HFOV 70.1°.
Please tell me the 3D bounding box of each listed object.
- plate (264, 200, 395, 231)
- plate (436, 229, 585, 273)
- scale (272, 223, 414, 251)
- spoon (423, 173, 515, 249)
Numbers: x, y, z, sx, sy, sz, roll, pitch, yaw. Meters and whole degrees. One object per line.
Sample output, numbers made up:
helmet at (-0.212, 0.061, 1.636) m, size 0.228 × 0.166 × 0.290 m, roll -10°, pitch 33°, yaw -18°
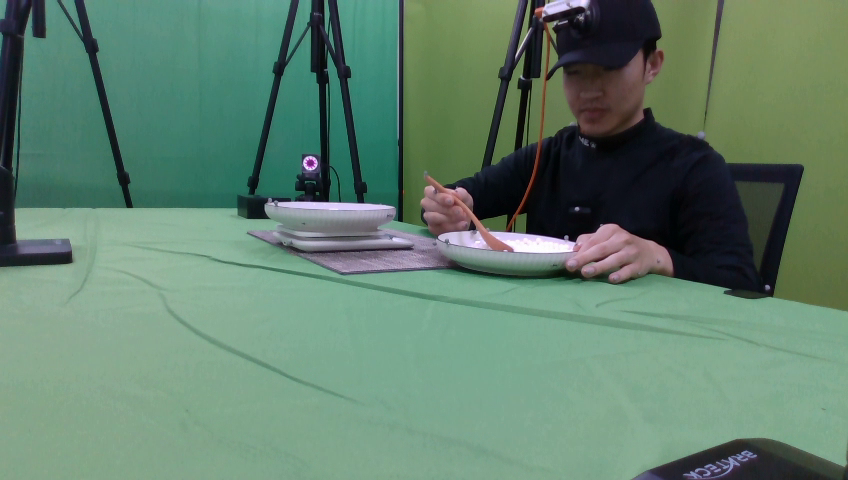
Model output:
plate at (-0.150, -0.040, 0.971) m, size 0.208 × 0.039 × 0.207 m, roll 2°, pitch 7°, yaw 0°
plate at (0.121, 0.015, 0.855) m, size 0.209 × 0.038 × 0.209 m, roll 3°, pitch 8°, yaw 0°
scale at (-0.131, -0.008, 0.984) m, size 0.202 × 0.031 × 0.148 m, roll -2°, pitch 8°, yaw -32°
spoon at (0.066, -0.043, 0.920) m, size 0.193 × 0.021 × 0.042 m, roll 47°, pitch -9°, yaw 23°
